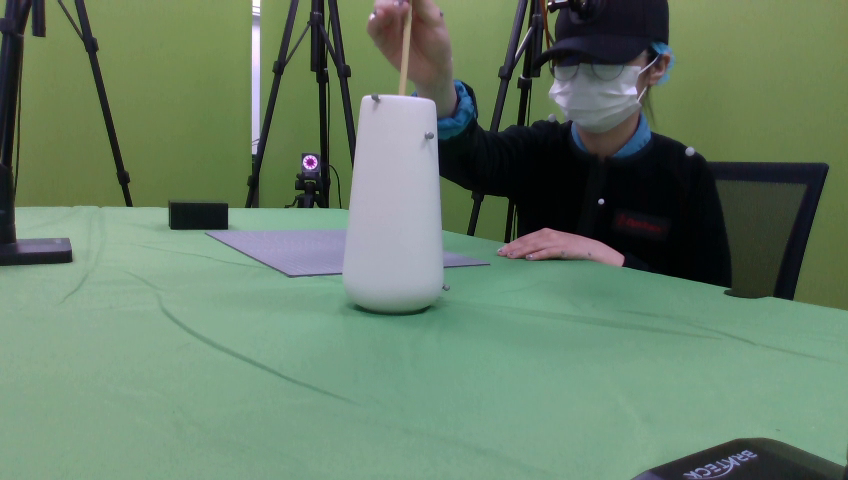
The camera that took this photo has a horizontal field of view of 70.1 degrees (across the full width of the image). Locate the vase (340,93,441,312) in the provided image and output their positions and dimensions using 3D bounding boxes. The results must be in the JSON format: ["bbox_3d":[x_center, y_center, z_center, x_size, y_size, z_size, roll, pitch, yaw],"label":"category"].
[{"bbox_3d":[-0.032,-0.035,0.577,0.098,0.200,0.098,0,7,0],"label":"vase"}]

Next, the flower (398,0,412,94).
[{"bbox_3d":[-0.014,-0.259,0.581,0.044,0.361,0.038,0,-6,35],"label":"flower"}]
